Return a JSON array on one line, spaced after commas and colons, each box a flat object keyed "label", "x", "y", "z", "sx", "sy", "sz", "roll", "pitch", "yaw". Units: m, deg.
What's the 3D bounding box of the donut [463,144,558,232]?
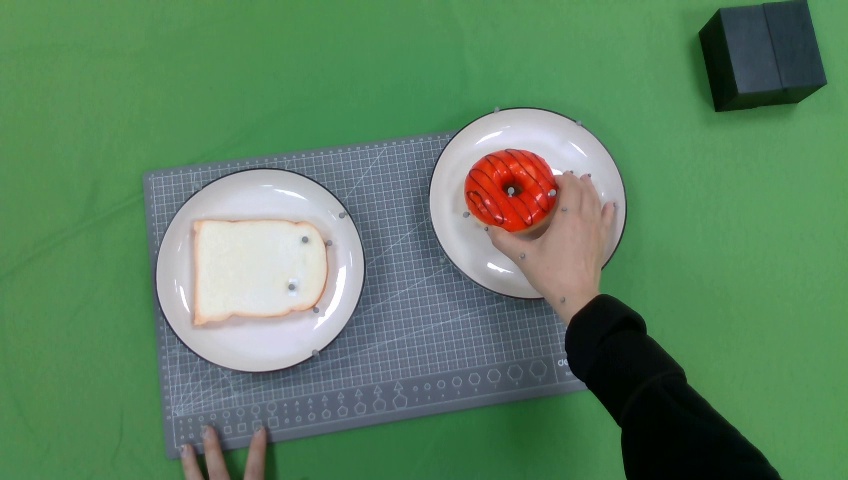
[{"label": "donut", "x": 0.089, "y": -0.054, "z": 0.626, "sx": 0.099, "sy": 0.048, "sz": 0.098, "roll": -3, "pitch": 68, "yaw": 7}]

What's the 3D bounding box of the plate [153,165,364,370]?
[{"label": "plate", "x": -0.165, "y": 0.028, "z": 0.620, "sx": 0.209, "sy": 0.038, "sz": 0.208, "roll": 1, "pitch": 80, "yaw": -3}]

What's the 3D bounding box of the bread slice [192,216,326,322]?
[{"label": "bread slice", "x": -0.169, "y": 0.024, "z": 0.622, "sx": 0.134, "sy": 0.018, "sz": 0.106, "roll": -6, "pitch": 81, "yaw": -4}]

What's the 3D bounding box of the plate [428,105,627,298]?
[{"label": "plate", "x": 0.108, "y": -0.040, "z": 0.644, "sx": 0.208, "sy": 0.039, "sz": 0.207, "roll": 0, "pitch": 80, "yaw": -2}]
